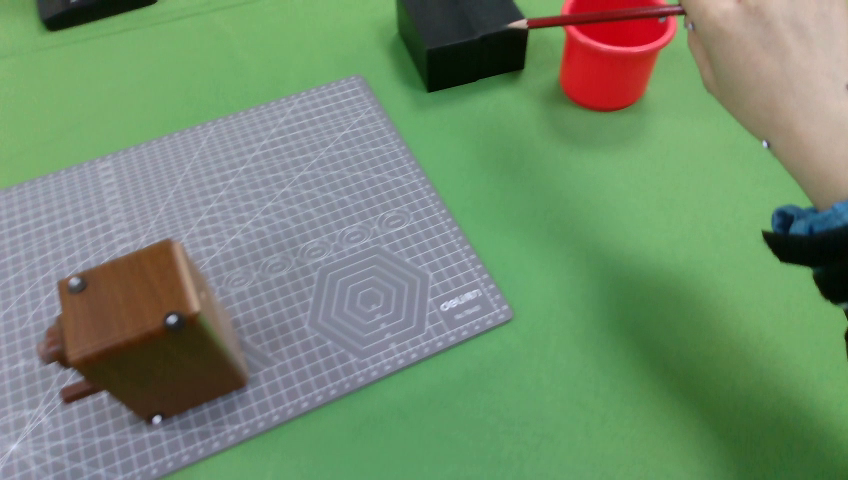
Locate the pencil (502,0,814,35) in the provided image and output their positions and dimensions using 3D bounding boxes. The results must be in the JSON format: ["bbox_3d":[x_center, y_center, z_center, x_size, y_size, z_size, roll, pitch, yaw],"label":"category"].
[{"bbox_3d":[0.144,-0.147,0.399,0.193,0.012,0.012,2,54,25],"label":"pencil"}]

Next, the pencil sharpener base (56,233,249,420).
[{"bbox_3d":[-0.164,0.058,0.376,0.077,0.108,0.060,-22,58,-13],"label":"pencil sharpener base"}]

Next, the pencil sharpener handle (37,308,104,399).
[{"bbox_3d":[-0.210,0.071,0.354,0.031,0.068,0.035,-22,52,-12],"label":"pencil sharpener handle"}]
